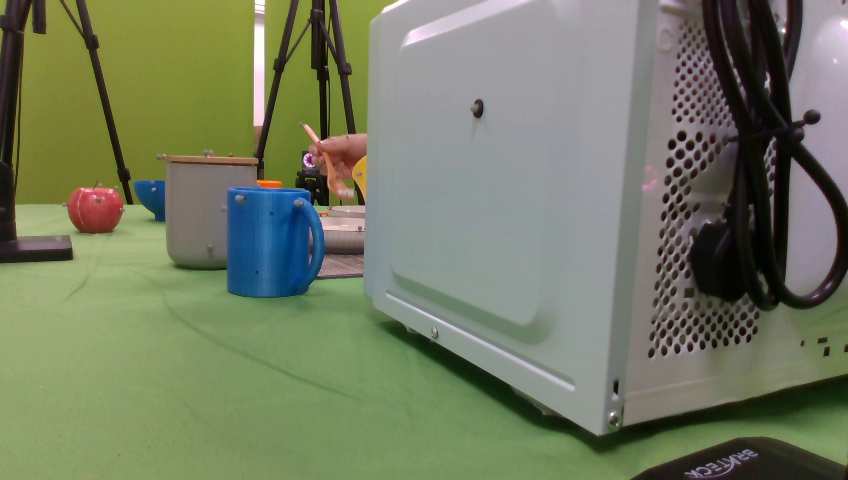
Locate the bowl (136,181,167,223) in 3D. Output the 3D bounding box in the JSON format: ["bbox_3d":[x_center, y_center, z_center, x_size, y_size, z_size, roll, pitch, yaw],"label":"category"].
[{"bbox_3d":[-0.497,-0.076,1.221,0.151,0.077,0.151,2,8,0],"label":"bowl"}]

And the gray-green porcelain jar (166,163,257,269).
[{"bbox_3d":[-0.263,-0.031,0.754,0.106,0.126,0.106,2,7,0],"label":"gray-green porcelain jar"}]

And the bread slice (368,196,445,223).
[{"bbox_3d":[-0.040,-0.057,1.142,0.107,0.018,0.133,-8,-8,-39],"label":"bread slice"}]

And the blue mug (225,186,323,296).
[{"bbox_3d":[-0.148,0.000,0.618,0.116,0.106,0.083,7,9,33],"label":"blue mug"}]

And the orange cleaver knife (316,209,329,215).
[{"bbox_3d":[-0.259,-0.064,1.423,0.212,0.012,0.077,-4,3,-30],"label":"orange cleaver knife"}]

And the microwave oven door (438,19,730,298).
[{"bbox_3d":[0.181,-0.076,0.618,0.358,0.243,0.039,-2,8,-28],"label":"microwave oven door"}]

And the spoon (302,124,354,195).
[{"bbox_3d":[-0.160,-0.134,0.982,0.042,0.021,0.193,6,42,-41],"label":"spoon"}]

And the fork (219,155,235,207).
[{"bbox_3d":[-0.459,-0.134,1.415,0.028,0.018,0.207,-1,-34,-25],"label":"fork"}]

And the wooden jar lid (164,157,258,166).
[{"bbox_3d":[-0.261,-0.093,0.746,0.108,0.020,0.108,0,9,0],"label":"wooden jar lid"}]

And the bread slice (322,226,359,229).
[{"bbox_3d":[-0.124,-0.008,0.938,0.131,0.019,0.105,4,8,32],"label":"bread slice"}]

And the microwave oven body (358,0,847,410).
[{"bbox_3d":[0.210,-0.051,0.471,0.444,0.260,0.324,-1,7,-28],"label":"microwave oven body"}]

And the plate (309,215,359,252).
[{"bbox_3d":[-0.130,-0.011,0.945,0.208,0.039,0.207,2,8,0],"label":"plate"}]

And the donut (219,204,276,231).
[{"bbox_3d":[-0.316,-0.039,1.083,0.099,0.048,0.099,3,7,0],"label":"donut"}]

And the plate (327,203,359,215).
[{"bbox_3d":[-0.102,-0.053,1.299,0.209,0.038,0.209,2,8,0],"label":"plate"}]

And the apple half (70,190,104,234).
[{"bbox_3d":[-0.552,-0.048,1.010,0.053,0.074,0.081,-1,10,26],"label":"apple half"}]

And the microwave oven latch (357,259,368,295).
[{"bbox_3d":[-0.019,0.031,0.529,0.079,0.029,0.030,-1,7,-26],"label":"microwave oven latch"}]

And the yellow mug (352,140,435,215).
[{"bbox_3d":[-0.037,-0.098,0.880,0.130,0.064,0.100,-33,-21,26],"label":"yellow mug"}]

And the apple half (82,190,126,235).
[{"bbox_3d":[-0.516,-0.046,0.994,0.032,0.081,0.081,0,6,26],"label":"apple half"}]
